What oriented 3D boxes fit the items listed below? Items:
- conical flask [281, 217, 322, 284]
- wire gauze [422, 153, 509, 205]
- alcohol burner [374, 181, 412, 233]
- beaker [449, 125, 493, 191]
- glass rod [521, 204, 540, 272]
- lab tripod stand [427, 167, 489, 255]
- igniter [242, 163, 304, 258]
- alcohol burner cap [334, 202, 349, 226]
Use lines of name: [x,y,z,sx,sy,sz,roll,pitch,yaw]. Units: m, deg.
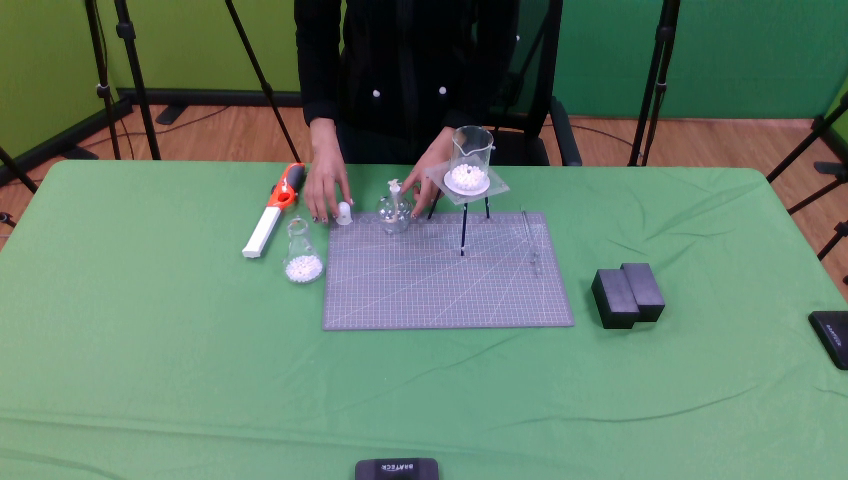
conical flask: [-0.225,0.016,1.097,0.075,0.122,0.075,3,46,-2]
wire gauze: [0.078,-0.114,1.144,0.125,0.011,0.120,-21,49,-20]
alcohol burner: [-0.060,-0.071,1.197,0.078,0.119,0.077,3,47,-4]
beaker: [0.083,-0.146,1.108,0.074,0.101,0.083,15,47,11]
glass rod: [0.215,-0.008,1.230,0.008,0.008,0.198,0,43,-3]
lab tripod stand: [0.076,-0.068,1.191,0.148,0.132,0.147,2,44,-2]
igniter: [-0.305,-0.069,1.239,0.057,0.025,0.275,3,45,12]
alcohol burner cap: [-0.167,-0.055,1.223,0.034,0.048,0.033,4,46,-4]
